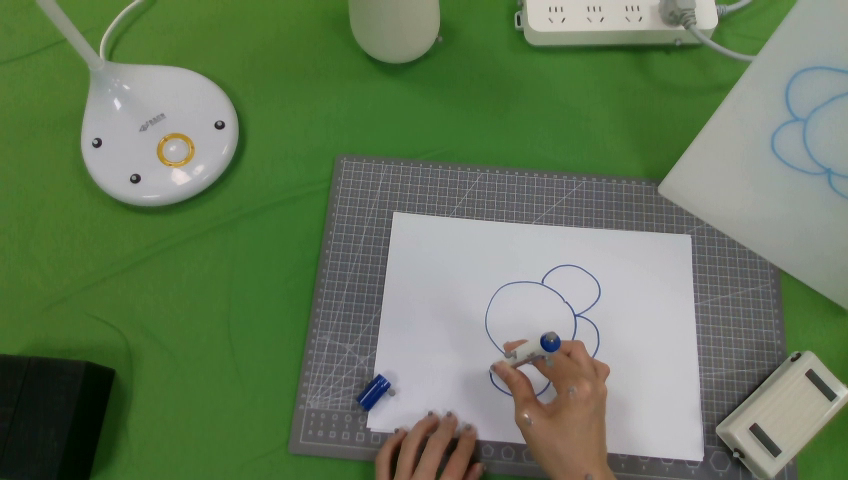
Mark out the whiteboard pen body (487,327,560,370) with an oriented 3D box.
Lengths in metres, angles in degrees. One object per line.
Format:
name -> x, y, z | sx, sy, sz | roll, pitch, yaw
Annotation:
whiteboard pen body -> 0.076, 0.093, 0.500 | 0.017, 0.141, 0.017 | 5, 69, -13

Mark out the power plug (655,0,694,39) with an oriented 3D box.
power plug -> 0.264, -0.237, 0.645 | 0.035, 0.053, 0.072 | 10, 78, 4

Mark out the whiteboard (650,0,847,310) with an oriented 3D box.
whiteboard -> 0.387, -0.121, 0.518 | 0.216, 0.307, 0.143 | 35, 54, 12

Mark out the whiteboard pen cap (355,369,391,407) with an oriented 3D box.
whiteboard pen cap -> -0.045, 0.134, 0.551 | 0.018, 0.018, 0.033 | 40, 74, 13

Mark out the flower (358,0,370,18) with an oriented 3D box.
flower -> -0.019, -0.286, 0.513 | 0.044, 0.361, 0.038 | -38, 92, -20

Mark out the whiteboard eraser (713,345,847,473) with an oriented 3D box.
whiteboard eraser -> 0.311, 0.146, 0.532 | 0.112, 0.042, 0.055 | -38, 74, -11

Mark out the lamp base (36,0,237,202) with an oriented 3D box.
lamp base -> -0.287, -0.147, 0.563 | 0.178, 0.181, 0.160 | 37, 75, 15

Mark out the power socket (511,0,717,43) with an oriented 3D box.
power socket -> 0.213, -0.258, 0.676 | 0.227, 0.033, 0.072 | 0, 72, 0

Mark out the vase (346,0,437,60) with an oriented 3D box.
vase -> -0.037, -0.269, 0.593 | 0.098, 0.201, 0.097 | 0, 70, 2
